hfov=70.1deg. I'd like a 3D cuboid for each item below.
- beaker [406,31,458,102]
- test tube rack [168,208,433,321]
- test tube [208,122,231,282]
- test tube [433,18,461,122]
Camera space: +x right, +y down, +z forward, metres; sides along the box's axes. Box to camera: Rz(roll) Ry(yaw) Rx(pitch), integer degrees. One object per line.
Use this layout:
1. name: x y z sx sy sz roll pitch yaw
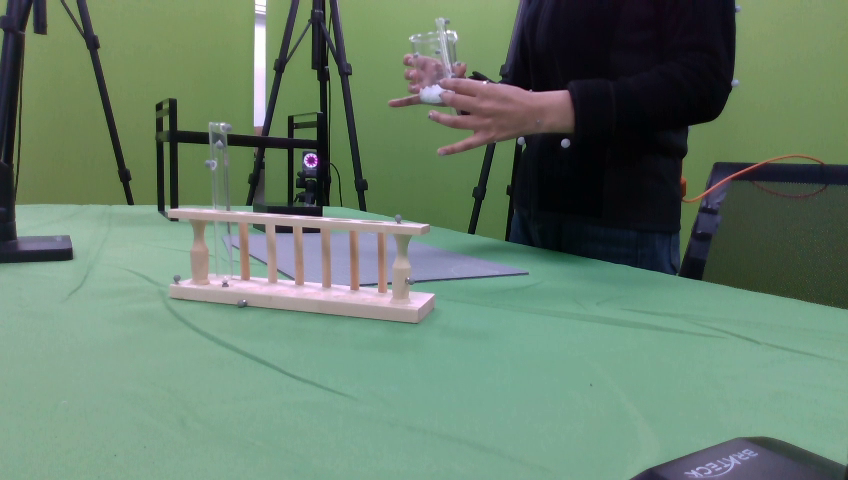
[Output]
1. beaker: 0.018 -0.280 0.979 0.083 0.100 0.074 9 33 30
2. test tube rack: -0.115 0.017 0.574 0.242 0.085 0.067 4 8 13
3. test tube: -0.191 -0.034 0.565 0.017 0.150 0.017 2 11 0
4. test tube: 0.034 -0.244 0.870 0.017 0.150 0.017 -10 2 1
